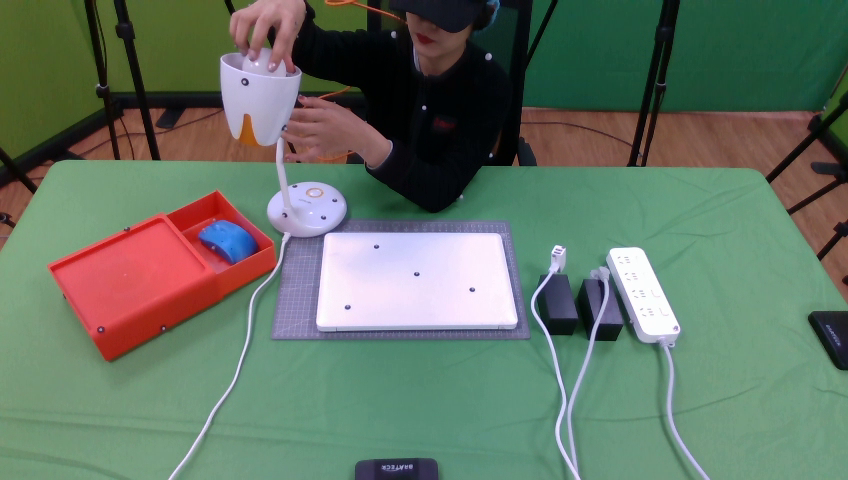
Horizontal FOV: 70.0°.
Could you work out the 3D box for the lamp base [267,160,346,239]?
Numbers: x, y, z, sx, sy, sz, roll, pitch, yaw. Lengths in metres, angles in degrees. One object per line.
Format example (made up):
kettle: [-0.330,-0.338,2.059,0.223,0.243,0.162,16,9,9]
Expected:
lamp base: [-0.241,-0.110,1.175,0.160,0.181,0.178,11,49,9]

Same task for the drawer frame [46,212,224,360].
drawer frame: [-0.495,0.072,1.050,0.213,0.083,0.200,-32,56,-30]

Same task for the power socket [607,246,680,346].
power socket: [0.403,0.096,1.123,0.072,0.033,0.225,-3,46,-5]

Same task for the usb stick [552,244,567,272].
usb stick: [0.251,0.039,1.123,0.021,0.059,0.027,14,47,24]

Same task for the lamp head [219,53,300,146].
lamp head: [-0.244,-0.203,0.889,0.112,0.123,0.112,10,33,-7]

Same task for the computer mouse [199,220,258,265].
computer mouse: [-0.374,-0.001,1.153,0.116,0.041,0.063,30,52,28]

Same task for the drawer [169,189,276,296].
drawer: [-0.413,0.022,1.108,0.212,0.073,0.193,-33,57,-30]

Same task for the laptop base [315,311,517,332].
laptop base: [-0.016,0.075,1.125,0.355,0.023,0.234,0,42,-4]

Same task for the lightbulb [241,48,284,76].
lightbulb: [-0.237,-0.221,0.872,0.059,0.108,0.059,16,24,-7]

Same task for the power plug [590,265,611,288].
power plug: [0.318,0.073,1.108,0.035,0.053,0.072,26,33,12]

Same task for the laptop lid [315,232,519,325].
laptop lid: [-0.015,0.065,1.118,0.357,0.013,0.240,1,43,-3]
